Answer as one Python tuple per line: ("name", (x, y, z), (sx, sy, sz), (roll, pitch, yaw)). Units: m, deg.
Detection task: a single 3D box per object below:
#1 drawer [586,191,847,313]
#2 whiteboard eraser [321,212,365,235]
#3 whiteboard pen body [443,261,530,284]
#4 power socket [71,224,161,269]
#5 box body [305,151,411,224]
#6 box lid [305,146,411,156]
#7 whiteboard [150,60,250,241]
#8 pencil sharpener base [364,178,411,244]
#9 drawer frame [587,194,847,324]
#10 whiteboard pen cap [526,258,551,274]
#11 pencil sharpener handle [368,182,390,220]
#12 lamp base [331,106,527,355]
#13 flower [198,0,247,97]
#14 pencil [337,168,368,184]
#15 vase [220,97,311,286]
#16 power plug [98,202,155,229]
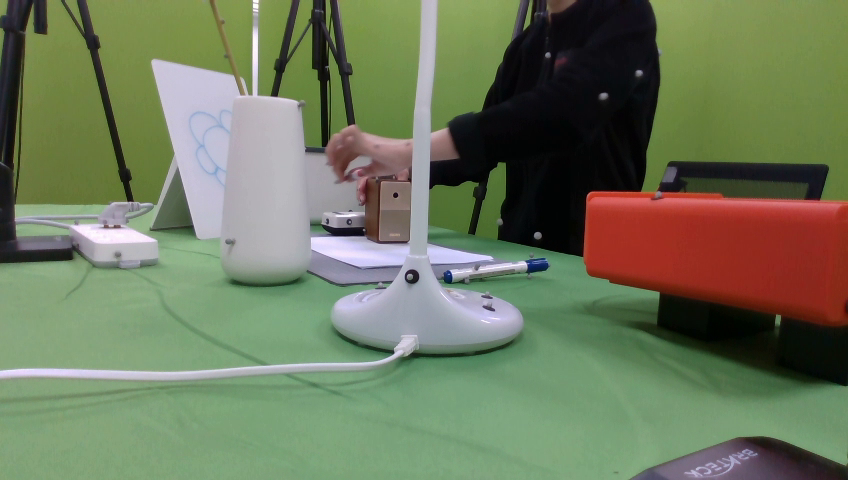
("drawer", (0.281, 0.001, 0.513), (0.195, 0.073, 0.210), (-1, 8, -29))
("whiteboard eraser", (-0.128, -0.031, 1.108), (0.113, 0.042, 0.055), (-3, 8, -38))
("whiteboard pen body", (0.087, 0.037, 0.734), (0.141, 0.017, 0.017), (-6, 10, -27))
("power socket", (-0.408, 0.004, 0.793), (0.072, 0.032, 0.225), (-2, 8, -38))
("box body", (-0.230, -0.126, 1.371), (0.366, 0.160, 0.253), (-2, 8, -33))
("box lid", (-0.229, -0.200, 1.360), (0.373, 0.015, 0.262), (-3, 9, -33))
("whiteboard", (-0.408, -0.139, 1.093), (0.143, 0.305, 0.218), (-15, -1, 26))
("pencil sharpener base", (-0.062, -0.051, 1.031), (0.061, 0.107, 0.076), (-1, 8, -25))
("drawer frame", (0.286, 0.004, 0.508), (0.203, 0.082, 0.212), (-1, 6, -29))
("whiteboard pen cap", (0.141, 0.033, 0.758), (0.033, 0.018, 0.018), (-7, 11, -26))
("pencil sharpener handle", (-0.085, -0.070, 1.074), (0.036, 0.067, 0.030), (9, 3, -26))
("lamp base", (0.006, -0.012, 0.478), (0.161, 0.180, 0.179), (2, 10, 2))
("flower", (-0.187, -0.133, 0.648), (0.038, 0.362, 0.044), (-1, 22, 43))
("pencil", (-0.109, -0.092, 0.893), (0.012, 0.012, 0.193), (0, 1, -19))
("vase", (-0.172, -0.052, 0.662), (0.098, 0.200, 0.098), (3, 9, 0))
("power plug", (-0.416, -0.027, 0.848), (0.073, 0.052, 0.035), (0, 8, -28))
